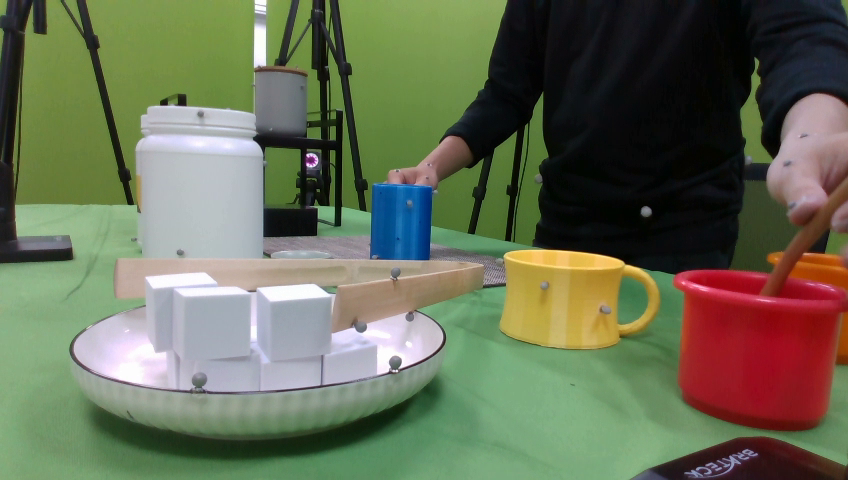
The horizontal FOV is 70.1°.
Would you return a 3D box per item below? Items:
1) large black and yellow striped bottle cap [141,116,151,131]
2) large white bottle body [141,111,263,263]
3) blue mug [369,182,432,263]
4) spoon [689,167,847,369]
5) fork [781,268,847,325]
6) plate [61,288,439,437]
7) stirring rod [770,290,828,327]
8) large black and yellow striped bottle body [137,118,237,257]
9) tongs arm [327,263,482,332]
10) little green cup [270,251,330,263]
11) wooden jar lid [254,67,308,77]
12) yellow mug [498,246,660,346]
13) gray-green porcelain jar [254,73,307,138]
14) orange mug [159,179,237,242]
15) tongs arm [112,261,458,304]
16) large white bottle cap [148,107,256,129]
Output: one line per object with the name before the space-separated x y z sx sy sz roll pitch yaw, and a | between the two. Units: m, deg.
large black and yellow striped bottle cap | -0.329 -0.158 0.837 0.115 0.019 0.115 2 6 0
large white bottle body | -0.254 -0.053 0.697 0.131 0.184 0.130 2 7 0
blue mug | -0.027 -0.026 0.835 0.082 0.106 0.117 4 8 19
spoon | 0.206 0.012 0.342 0.042 0.193 0.021 -5 39 -26
fork | 0.324 0.018 0.441 0.028 0.018 0.207 -2 -36 -4
plate | -0.095 0.069 0.362 0.208 0.039 0.207 3 7 0
stirring rod | 0.349 0.022 0.468 0.014 0.006 0.175 -13 -26 -50
large black and yellow striped bottle body | -0.330 -0.075 0.849 0.131 0.184 0.130 2 8 0
tongs arm | -0.003 0.036 0.493 0.050 0.026 0.386 1 0 19
little green cup | -0.129 0.034 0.629 0.061 0.038 0.061 3 6 0
wooden jar lid | -0.296 -0.339 1.251 0.108 0.020 0.108 2 7 0
yellow mug | 0.130 0.045 0.508 0.131 0.064 0.100 4 7 6
gray-green porcelain jar | -0.298 -0.277 1.259 0.106 0.126 0.106 3 8 0
orange mug | -0.368 -0.051 0.991 0.127 0.101 0.083 -10 14 -41
tongs arm | -0.080 0.032 0.527 0.028 0.027 0.389 -3 -3 33
large white bottle cap | -0.250 -0.137 0.686 0.115 0.018 0.115 2 8 0
